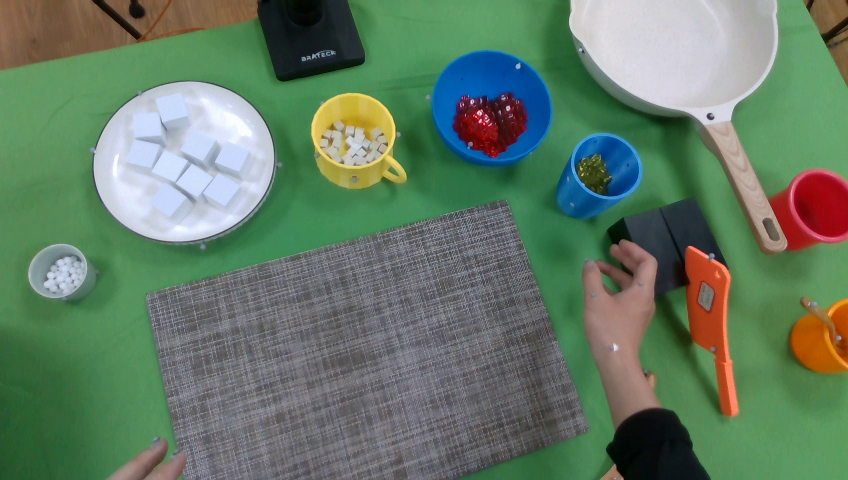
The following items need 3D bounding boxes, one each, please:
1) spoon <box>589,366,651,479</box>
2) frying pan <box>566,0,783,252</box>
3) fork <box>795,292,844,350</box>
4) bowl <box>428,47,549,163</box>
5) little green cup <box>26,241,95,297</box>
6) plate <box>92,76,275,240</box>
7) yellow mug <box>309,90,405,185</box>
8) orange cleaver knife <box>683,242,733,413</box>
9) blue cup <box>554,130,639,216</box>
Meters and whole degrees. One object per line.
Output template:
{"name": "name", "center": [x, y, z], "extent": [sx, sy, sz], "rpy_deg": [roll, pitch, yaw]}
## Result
{"name": "spoon", "center": [0.233, 0.236, 0.711], "extent": [0.041, 0.022, 0.193], "rpy_deg": [24, 73, 14]}
{"name": "frying pan", "center": [0.354, -0.207, 0.802], "extent": [0.307, 0.103, 0.484], "rpy_deg": [-10, 68, -8]}
{"name": "fork", "center": [0.467, 0.096, 0.711], "extent": [0.209, 0.018, 0.028], "rpy_deg": [29, 67, -44]}
{"name": "bowl", "center": [0.075, -0.158, 0.770], "extent": [0.151, 0.077, 0.150], "rpy_deg": [2, 75, -6]}
{"name": "little green cup", "center": [-0.404, 0.035, 0.679], "extent": [0.062, 0.039, 0.061], "rpy_deg": [2, 76, -7]}
{"name": "plate", "center": [-0.284, -0.097, 0.731], "extent": [0.208, 0.039, 0.206], "rpy_deg": [2, 75, -6]}
{"name": "yellow mug", "center": [-0.077, -0.116, 0.747], "extent": [0.131, 0.064, 0.099], "rpy_deg": [36, 74, 3]}
{"name": "orange cleaver knife", "center": [0.340, 0.106, 0.728], "extent": [0.012, 0.076, 0.212], "rpy_deg": [-16, 106, -10]}
{"name": "blue cup", "center": [0.204, -0.074, 0.749], "extent": [0.093, 0.100, 0.092], "rpy_deg": [2, 72, -5]}
